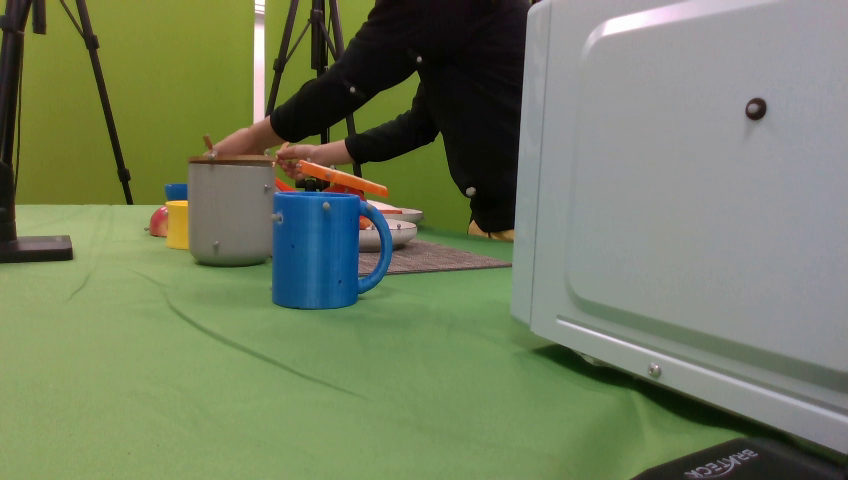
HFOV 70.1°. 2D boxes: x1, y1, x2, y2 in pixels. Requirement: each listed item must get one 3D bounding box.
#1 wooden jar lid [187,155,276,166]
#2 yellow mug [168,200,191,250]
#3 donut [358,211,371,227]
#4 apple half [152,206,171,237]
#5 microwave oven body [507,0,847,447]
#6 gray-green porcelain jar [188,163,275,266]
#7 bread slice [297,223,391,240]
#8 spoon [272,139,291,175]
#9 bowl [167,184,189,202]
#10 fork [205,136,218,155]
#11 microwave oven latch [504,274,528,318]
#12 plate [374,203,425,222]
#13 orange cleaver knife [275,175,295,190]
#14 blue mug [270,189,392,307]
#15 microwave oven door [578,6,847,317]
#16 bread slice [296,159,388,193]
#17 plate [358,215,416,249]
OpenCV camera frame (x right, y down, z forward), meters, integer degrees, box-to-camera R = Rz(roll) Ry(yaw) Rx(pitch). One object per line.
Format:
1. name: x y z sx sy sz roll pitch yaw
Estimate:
1. wooden jar lid: -0.244 -0.097 0.771 0.108 0.020 0.108 -1 7 0
2. yellow mug: -0.320 -0.022 0.904 0.130 0.064 0.100 8 10 36
3. donut: -0.129 -0.041 0.956 0.099 0.048 0.099 2 8 0
4. apple half: -0.415 -0.034 1.017 0.081 0.053 0.074 1 10 -8
5. microwave oven body: 0.331 -0.042 0.426 0.444 0.260 0.324 -2 8 -31
6. gray-green porcelain jar: -0.246 -0.034 0.780 0.106 0.126 0.106 2 7 0
7. bread slice: -0.121 -0.015 0.970 0.106 0.018 0.135 9 8 40
8. spoon: -0.380 -0.204 1.569 0.041 0.022 0.193 6 51 12
9. bowl: -0.408 -0.064 1.154 0.151 0.077 0.151 2 8 0
10. fork: -0.475 -0.174 1.391 0.028 0.018 0.207 13 -30 3
11. microwave oven latch: 0.100 0.041 0.472 0.079 0.029 0.030 -2 8 -29
12. plate: -0.102 -0.053 1.299 0.209 0.038 0.209 2 8 0
13. orange cleaver knife: -0.283 -0.087 1.343 0.212 0.077 0.012 24 -17 -41
14. blue mug: -0.089 0.005 0.588 0.117 0.106 0.082 1 7 -10
15. microwave oven door: 0.294 -0.067 0.570 0.358 0.243 0.039 -3 9 -31
16. bread slice: -0.132 -0.102 0.952 0.132 0.019 0.104 13 6 -36
17. plate: -0.116 -0.014 0.967 0.208 0.039 0.207 2 7 0
